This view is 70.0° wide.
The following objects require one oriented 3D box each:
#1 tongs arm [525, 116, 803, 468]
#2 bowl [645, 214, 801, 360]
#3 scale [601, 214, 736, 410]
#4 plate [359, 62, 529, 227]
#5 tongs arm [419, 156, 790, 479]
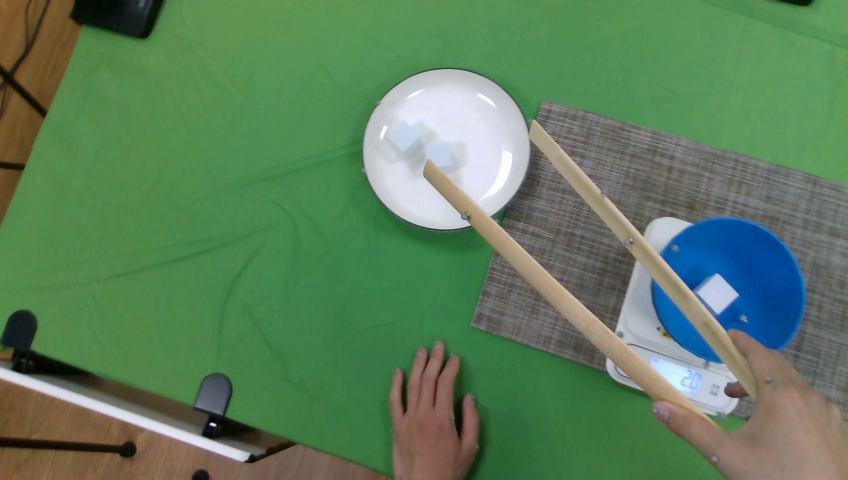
[{"bbox_3d":[0.185,0.023,0.538,0.051,0.027,0.381,-20,58,-24],"label":"tongs arm"},{"bbox_3d":[0.304,0.053,0.647,0.151,0.077,0.151,0,81,3],"label":"bowl"},{"bbox_3d":[0.301,0.080,0.696,0.148,0.032,0.200,18,83,7],"label":"scale"},{"bbox_3d":[0.024,-0.116,0.751,0.207,0.039,0.207,-1,81,4],"label":"plate"},{"bbox_3d":[0.124,0.050,0.508,0.028,0.028,0.384,-29,62,-33],"label":"tongs arm"}]
